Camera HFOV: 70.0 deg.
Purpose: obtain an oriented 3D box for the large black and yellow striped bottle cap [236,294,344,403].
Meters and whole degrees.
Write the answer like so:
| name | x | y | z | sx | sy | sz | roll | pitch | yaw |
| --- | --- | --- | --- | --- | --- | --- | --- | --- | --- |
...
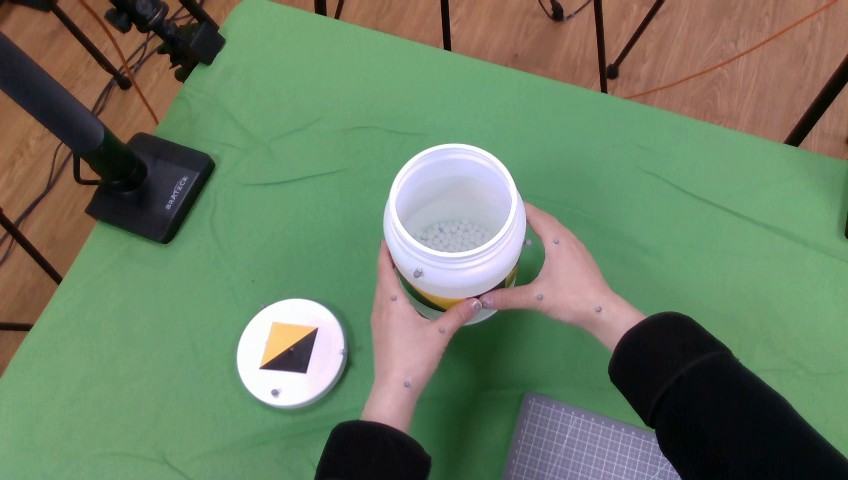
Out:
| name | x | y | z | sx | sy | sz | roll | pitch | yaw |
| --- | --- | --- | --- | --- | --- | --- | --- | --- | --- |
| large black and yellow striped bottle cap | -0.143 | 0.114 | 0.644 | 0.115 | 0.019 | 0.114 | -1 | 67 | 3 |

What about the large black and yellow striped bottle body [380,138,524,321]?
| name | x | y | z | sx | sy | sz | roll | pitch | yaw |
| --- | --- | --- | --- | --- | --- | --- | --- | --- | --- |
| large black and yellow striped bottle body | 0.028 | -0.005 | 0.590 | 0.131 | 0.185 | 0.130 | -1 | 68 | 3 |
